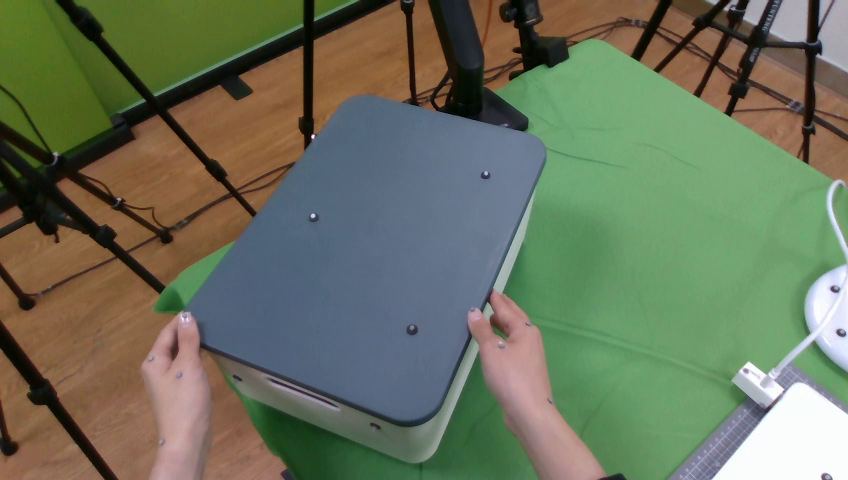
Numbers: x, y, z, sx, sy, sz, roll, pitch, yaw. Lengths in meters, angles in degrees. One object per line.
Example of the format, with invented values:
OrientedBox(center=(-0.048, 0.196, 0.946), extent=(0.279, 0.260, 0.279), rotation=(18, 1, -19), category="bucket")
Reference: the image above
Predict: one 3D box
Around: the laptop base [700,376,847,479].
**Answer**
OrientedBox(center=(0.433, 0.317, 0.551), extent=(0.235, 0.023, 0.351), rotation=(-38, 61, -19), category="laptop base")

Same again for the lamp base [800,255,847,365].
OrientedBox(center=(0.527, 0.035, 0.655), extent=(0.160, 0.182, 0.178), rotation=(8, 52, 8), category="lamp base")

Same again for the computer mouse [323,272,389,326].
OrientedBox(center=(-0.081, 0.064, 0.725), extent=(0.063, 0.041, 0.116), rotation=(-8, 14, 7), category="computer mouse")

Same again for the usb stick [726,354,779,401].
OrientedBox(center=(0.361, 0.154, 0.656), extent=(0.021, 0.027, 0.058), rotation=(-30, 61, -25), category="usb stick")

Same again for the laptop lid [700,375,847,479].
OrientedBox(center=(0.430, 0.311, 0.541), extent=(0.241, 0.013, 0.353), rotation=(-36, 60, -19), category="laptop lid")

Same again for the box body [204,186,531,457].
OrientedBox(center=(-0.045, 0.027, 0.688), extent=(0.253, 0.162, 0.362), rotation=(18, 56, 14), category="box body")

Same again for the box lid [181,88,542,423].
OrientedBox(center=(-0.046, -0.018, 0.629), extent=(0.262, 0.015, 0.369), rotation=(18, 57, 14), category="box lid")
